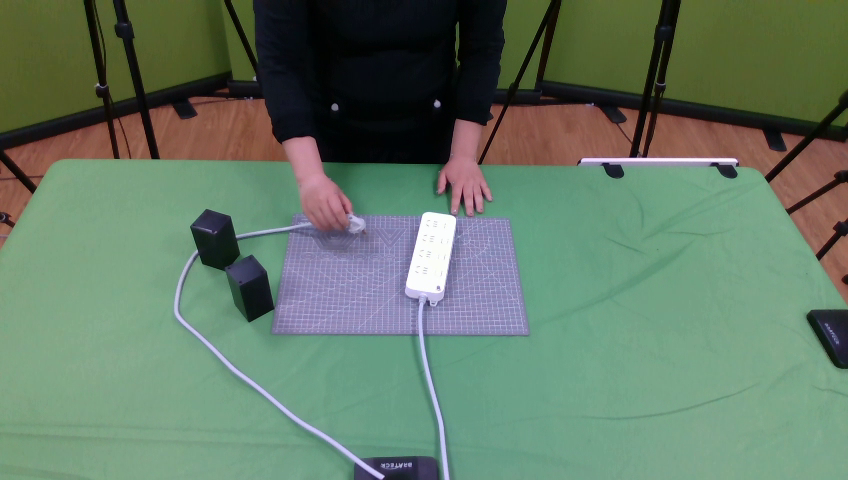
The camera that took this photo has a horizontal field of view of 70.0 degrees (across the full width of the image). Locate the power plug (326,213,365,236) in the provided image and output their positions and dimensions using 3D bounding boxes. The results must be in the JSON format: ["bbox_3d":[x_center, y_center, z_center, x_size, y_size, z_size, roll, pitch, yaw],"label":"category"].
[{"bbox_3d":[-0.146,-0.031,1.171,0.072,0.053,0.035,12,53,37],"label":"power plug"}]

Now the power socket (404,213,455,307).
[{"bbox_3d":[0.014,0.029,1.159,0.072,0.033,0.225,8,46,5],"label":"power socket"}]
